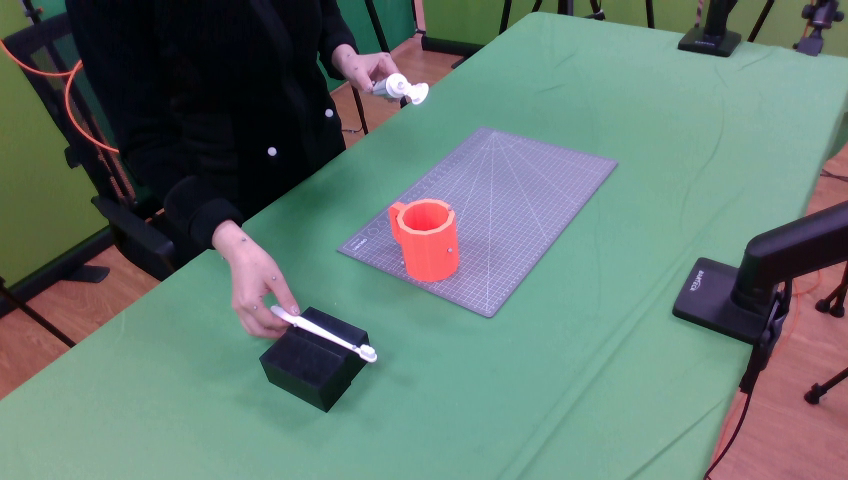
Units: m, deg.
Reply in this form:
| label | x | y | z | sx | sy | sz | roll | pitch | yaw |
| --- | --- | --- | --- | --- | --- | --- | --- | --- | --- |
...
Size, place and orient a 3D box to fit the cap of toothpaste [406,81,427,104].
| label | x | y | z | sx | sy | sz | roll | pitch | yaw |
| --- | --- | --- | --- | --- | --- | --- | --- | --- | --- |
| cap of toothpaste | -0.011 | -0.218 | 0.886 | 0.037 | 0.011 | 0.037 | -22 | 58 | 40 |

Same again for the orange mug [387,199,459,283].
| label | x | y | z | sx | sy | sz | roll | pitch | yaw |
| --- | --- | --- | --- | --- | --- | --- | --- | --- | --- |
| orange mug | -0.006 | -0.007 | 0.922 | 0.125 | 0.101 | 0.084 | 32 | 54 | 32 |

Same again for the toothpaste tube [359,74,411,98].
| label | x | y | z | sx | sy | sz | roll | pitch | yaw |
| --- | --- | --- | --- | --- | --- | --- | --- | --- | --- |
| toothpaste tube | -0.057 | -0.240 | 0.959 | 0.055 | 0.034 | 0.164 | -1 | 10 | -19 |

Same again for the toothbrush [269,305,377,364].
| label | x | y | z | sx | sy | sz | roll | pitch | yaw |
| --- | --- | --- | --- | --- | --- | --- | --- | --- | --- |
| toothbrush | -0.135 | 0.119 | 0.784 | 0.180 | 0.017 | 0.014 | 19 | 49 | 28 |
